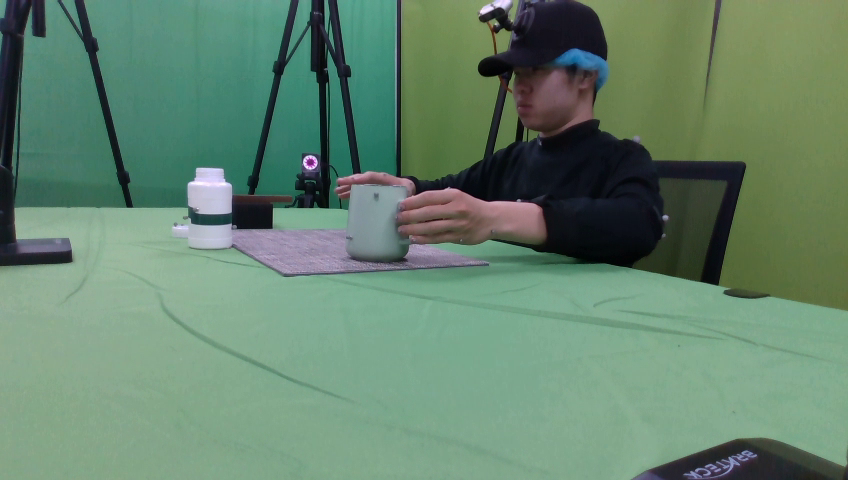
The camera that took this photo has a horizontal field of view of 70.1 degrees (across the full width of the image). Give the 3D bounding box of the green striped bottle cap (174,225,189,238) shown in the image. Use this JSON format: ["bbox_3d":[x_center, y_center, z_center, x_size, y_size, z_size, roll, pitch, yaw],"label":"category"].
[{"bbox_3d":[-0.404,-0.015,1.036,0.044,0.020,0.044,-2,8,1],"label":"green striped bottle cap"}]

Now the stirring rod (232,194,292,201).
[{"bbox_3d":[-0.353,-0.086,1.216,0.177,0.014,0.006,-2,12,-27],"label":"stirring rod"}]

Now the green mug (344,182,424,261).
[{"bbox_3d":[-0.053,-0.026,0.849,0.125,0.105,0.093,7,9,33],"label":"green mug"}]

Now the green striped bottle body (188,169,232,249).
[{"bbox_3d":[-0.324,-0.049,0.919,0.063,0.119,0.063,2,8,0],"label":"green striped bottle body"}]
